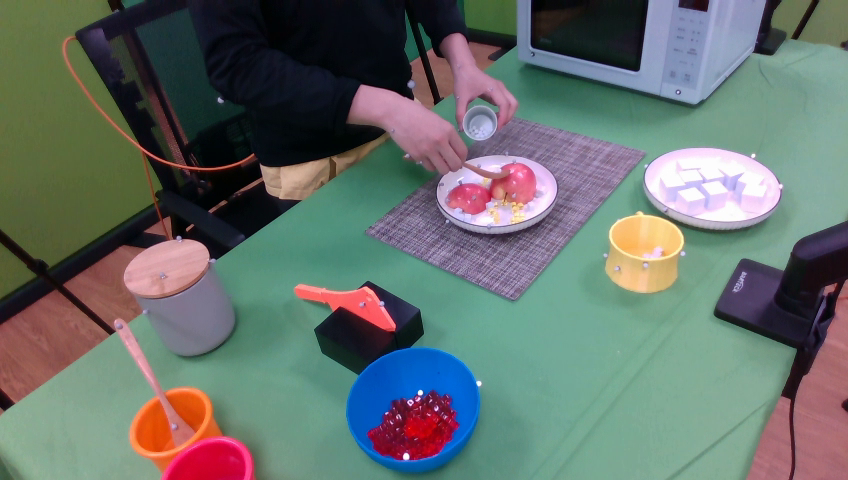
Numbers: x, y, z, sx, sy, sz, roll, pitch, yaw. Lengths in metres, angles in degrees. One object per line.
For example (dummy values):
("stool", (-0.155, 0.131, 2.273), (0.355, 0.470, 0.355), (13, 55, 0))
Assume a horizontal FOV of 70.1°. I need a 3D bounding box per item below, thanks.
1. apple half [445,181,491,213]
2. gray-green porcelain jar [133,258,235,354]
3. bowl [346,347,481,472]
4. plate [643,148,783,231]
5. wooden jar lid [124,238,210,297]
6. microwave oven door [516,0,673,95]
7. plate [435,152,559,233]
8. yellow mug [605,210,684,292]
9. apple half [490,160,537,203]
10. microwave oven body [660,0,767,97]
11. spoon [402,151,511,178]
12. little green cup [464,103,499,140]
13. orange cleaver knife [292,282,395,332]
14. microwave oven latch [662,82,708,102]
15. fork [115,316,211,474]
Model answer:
("apple half", (0.076, -0.083, 1.029), (0.081, 0.033, 0.081), (-1, 42, 2))
("gray-green porcelain jar", (-0.328, 0.086, 0.836), (0.106, 0.127, 0.105), (-4, 41, 4))
("bowl", (-0.008, 0.205, 0.691), (0.151, 0.077, 0.150), (-4, 40, 4))
("plate", (0.464, -0.080, 0.986), (0.207, 0.039, 0.206), (-4, 41, 4))
("wooden jar lid", (-0.335, 0.038, 0.794), (0.108, 0.021, 0.108), (-2, 40, 2))
("microwave oven door", (0.344, -0.458, 1.257), (0.353, 0.245, 0.039), (26, 51, 33))
("plate", (0.124, -0.078, 1.026), (0.209, 0.038, 0.208), (-4, 40, 4))
("yellow mug", (0.318, 0.007, 0.883), (0.100, 0.064, 0.130), (0, 41, 8))
("apple half", (0.154, -0.106, 1.030), (0.080, 0.053, 0.075), (22, 46, 30))
("microwave oven body", (0.474, -0.516, 1.313), (0.438, 0.261, 0.327), (26, 51, 34))
("spoon", (0.053, -0.121, 0.946), (0.195, 0.021, 0.041), (10, 15, -28))
("little green cup", (0.100, -0.206, 1.066), (0.061, 0.038, 0.061), (0, 84, 2))
("orange cleaver knife", (-0.116, 0.091, 0.835), (0.209, 0.077, 0.012), (2, 32, 48))
("microwave oven latch", (0.518, -0.298, 1.202), (0.078, 0.029, 0.030), (28, 53, 35))
("fork", (-0.308, 0.179, 0.708), (0.028, 0.018, 0.207), (-30, 89, -23))
